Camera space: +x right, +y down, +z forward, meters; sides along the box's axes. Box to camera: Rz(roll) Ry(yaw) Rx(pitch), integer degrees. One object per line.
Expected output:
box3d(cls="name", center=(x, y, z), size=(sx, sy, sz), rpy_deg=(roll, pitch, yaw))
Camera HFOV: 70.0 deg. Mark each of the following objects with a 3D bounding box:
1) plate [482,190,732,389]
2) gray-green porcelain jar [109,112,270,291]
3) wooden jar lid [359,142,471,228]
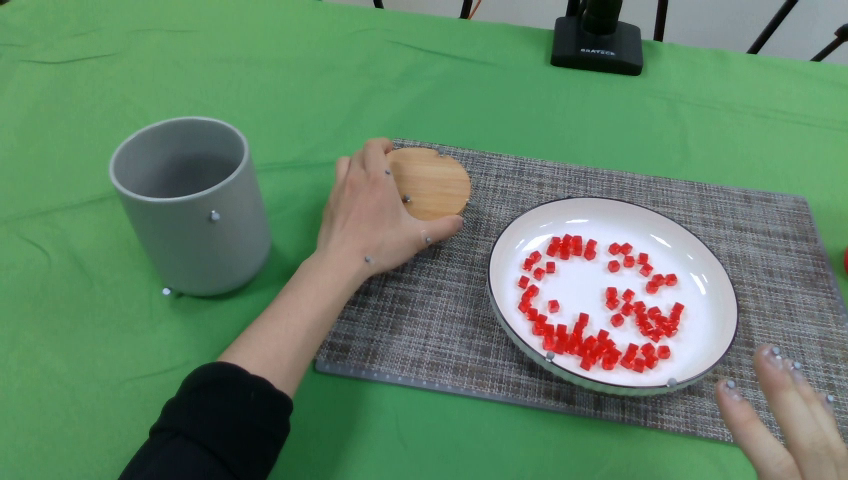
box3d(cls="plate", center=(0.153, 0.041, 0.526), size=(0.208, 0.039, 0.205), rpy_deg=(1, 48, -1))
box3d(cls="gray-green porcelain jar", center=(-0.192, -0.027, 0.519), size=(0.106, 0.127, 0.105), rpy_deg=(1, 48, -1))
box3d(cls="wooden jar lid", center=(-0.009, -0.053, 0.594), size=(0.108, 0.021, 0.107), rpy_deg=(2, 52, -2))
